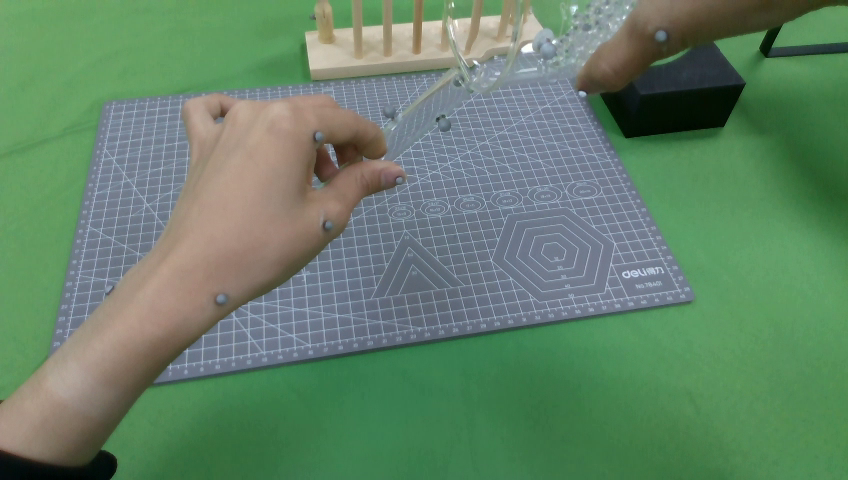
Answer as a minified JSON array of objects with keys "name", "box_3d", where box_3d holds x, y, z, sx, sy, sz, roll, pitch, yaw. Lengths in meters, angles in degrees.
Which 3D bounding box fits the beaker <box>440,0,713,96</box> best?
[{"name":"beaker","box_3d":[0.066,-0.105,0.267,0.100,0.084,0.073,-12,58,-16]}]

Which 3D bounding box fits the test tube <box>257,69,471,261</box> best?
[{"name":"test tube","box_3d":[-0.036,-0.034,0.313,0.150,0.017,0.017,-37,49,23]}]

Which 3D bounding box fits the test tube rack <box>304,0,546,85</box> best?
[{"name":"test tube rack","box_3d":[0.002,-0.220,0.600,0.243,0.086,0.066,-8,52,-8]}]
